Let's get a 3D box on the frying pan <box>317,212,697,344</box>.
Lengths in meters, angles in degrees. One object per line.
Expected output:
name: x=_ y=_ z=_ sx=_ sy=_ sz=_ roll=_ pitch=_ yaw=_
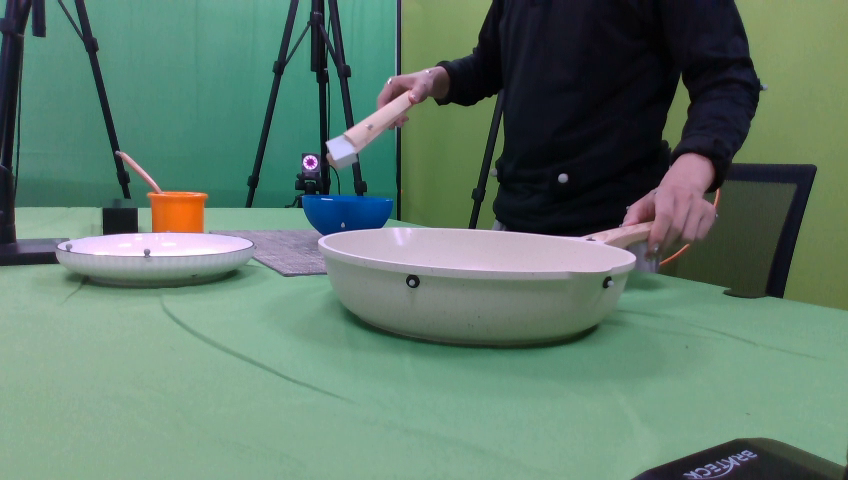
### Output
frying pan: x=0.133 y=0.013 z=0.629 sx=0.490 sy=0.102 sz=0.305 roll=-12 pitch=14 yaw=-31

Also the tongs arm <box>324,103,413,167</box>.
tongs arm: x=-0.082 y=-0.196 z=1.025 sx=0.050 sy=0.026 sz=0.385 roll=-38 pitch=10 yaw=22

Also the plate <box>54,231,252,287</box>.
plate: x=-0.309 y=0.020 z=0.705 sx=0.208 sy=0.039 sz=0.207 roll=3 pitch=7 yaw=0

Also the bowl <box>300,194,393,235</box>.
bowl: x=-0.128 y=-0.034 z=0.995 sx=0.151 sy=0.077 sz=0.151 roll=2 pitch=7 yaw=0

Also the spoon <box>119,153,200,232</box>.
spoon: x=-0.439 y=-0.077 z=1.000 sx=0.021 sy=0.193 sz=0.042 roll=-43 pitch=-7 yaw=22

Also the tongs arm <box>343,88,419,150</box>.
tongs arm: x=-0.061 y=-0.210 z=1.013 sx=0.028 sy=0.028 sz=0.388 roll=-41 pitch=9 yaw=26
